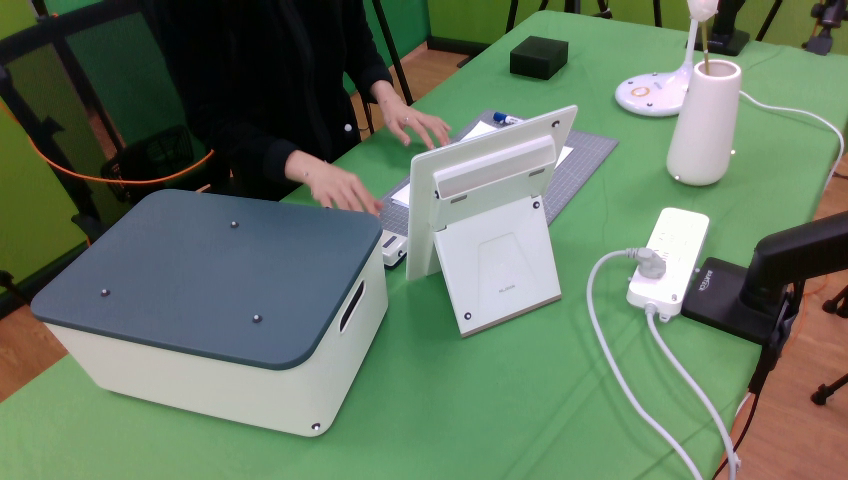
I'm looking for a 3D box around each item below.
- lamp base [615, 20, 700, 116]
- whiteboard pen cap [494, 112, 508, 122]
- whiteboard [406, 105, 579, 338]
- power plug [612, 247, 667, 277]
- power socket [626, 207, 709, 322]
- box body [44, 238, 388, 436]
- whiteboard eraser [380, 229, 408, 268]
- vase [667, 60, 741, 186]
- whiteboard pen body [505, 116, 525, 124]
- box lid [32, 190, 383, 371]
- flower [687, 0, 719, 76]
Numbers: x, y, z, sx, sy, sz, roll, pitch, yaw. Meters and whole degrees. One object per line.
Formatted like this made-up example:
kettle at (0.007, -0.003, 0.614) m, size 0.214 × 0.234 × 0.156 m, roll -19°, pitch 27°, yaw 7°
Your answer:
lamp base at (0.484, -0.364, 1.211) m, size 0.180 × 0.181 × 0.159 m, roll -15°, pitch 41°, yaw -14°
whiteboard pen cap at (0.161, -0.253, 1.248) m, size 0.033 × 0.018 × 0.018 m, roll 27°, pitch 51°, yaw 36°
whiteboard at (0.103, 0.003, 0.786) m, size 0.218 × 0.306 × 0.143 m, roll -19°, pitch 62°, yaw -14°
power plug at (0.306, 0.031, 0.852) m, size 0.072 × 0.053 × 0.035 m, roll 21°, pitch 48°, yaw 37°
power socket at (0.360, 0.026, 0.886) m, size 0.072 × 0.033 × 0.227 m, roll 17°, pitch 46°, yaw 27°
box body at (-0.251, 0.088, 0.799) m, size 0.362 × 0.161 × 0.254 m, roll 7°, pitch 42°, yaw 16°
whiteboard eraser at (-0.081, 0.008, 0.963) m, size 0.112 × 0.042 × 0.056 m, roll 19°, pitch 48°, yaw 27°
vase at (0.463, -0.189, 0.994) m, size 0.098 × 0.201 × 0.097 m, roll -4°, pitch 40°, yaw 3°
whiteboard pen body at (0.203, -0.232, 1.213) m, size 0.139 × 0.017 × 0.017 m, roll 28°, pitch 51°, yaw 36°
box lid at (-0.257, 0.032, 0.750) m, size 0.370 × 0.015 × 0.263 m, roll 7°, pitch 41°, yaw 16°
flower at (0.436, -0.242, 0.934) m, size 0.038 × 0.364 × 0.043 m, roll -24°, pitch 49°, yaw 9°
